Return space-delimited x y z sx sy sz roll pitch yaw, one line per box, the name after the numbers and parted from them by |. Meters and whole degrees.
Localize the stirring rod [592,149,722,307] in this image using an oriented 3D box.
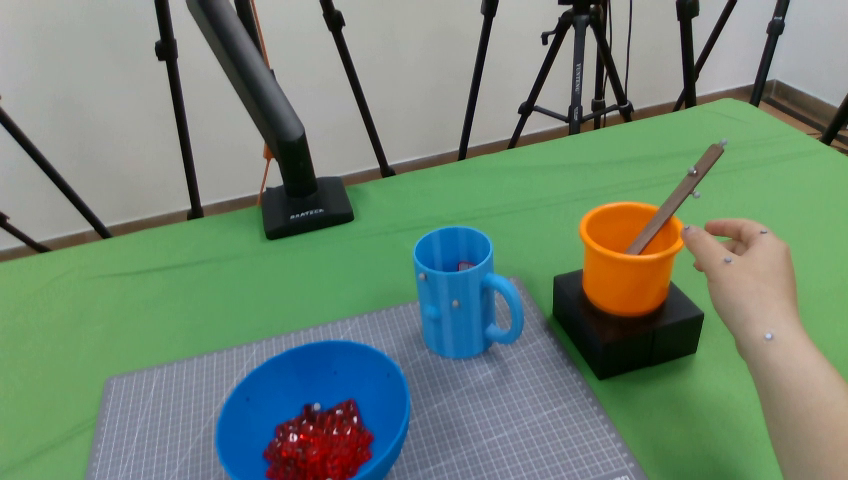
0.212 -0.010 0.555 0.176 0.006 0.014 -54 42 8 | stirring rod

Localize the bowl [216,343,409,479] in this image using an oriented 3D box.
-0.082 0.164 0.490 0.151 0.077 0.150 -4 35 3 | bowl

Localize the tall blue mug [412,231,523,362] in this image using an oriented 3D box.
0.046 0.057 0.593 0.107 0.109 0.077 3 36 13 | tall blue mug
